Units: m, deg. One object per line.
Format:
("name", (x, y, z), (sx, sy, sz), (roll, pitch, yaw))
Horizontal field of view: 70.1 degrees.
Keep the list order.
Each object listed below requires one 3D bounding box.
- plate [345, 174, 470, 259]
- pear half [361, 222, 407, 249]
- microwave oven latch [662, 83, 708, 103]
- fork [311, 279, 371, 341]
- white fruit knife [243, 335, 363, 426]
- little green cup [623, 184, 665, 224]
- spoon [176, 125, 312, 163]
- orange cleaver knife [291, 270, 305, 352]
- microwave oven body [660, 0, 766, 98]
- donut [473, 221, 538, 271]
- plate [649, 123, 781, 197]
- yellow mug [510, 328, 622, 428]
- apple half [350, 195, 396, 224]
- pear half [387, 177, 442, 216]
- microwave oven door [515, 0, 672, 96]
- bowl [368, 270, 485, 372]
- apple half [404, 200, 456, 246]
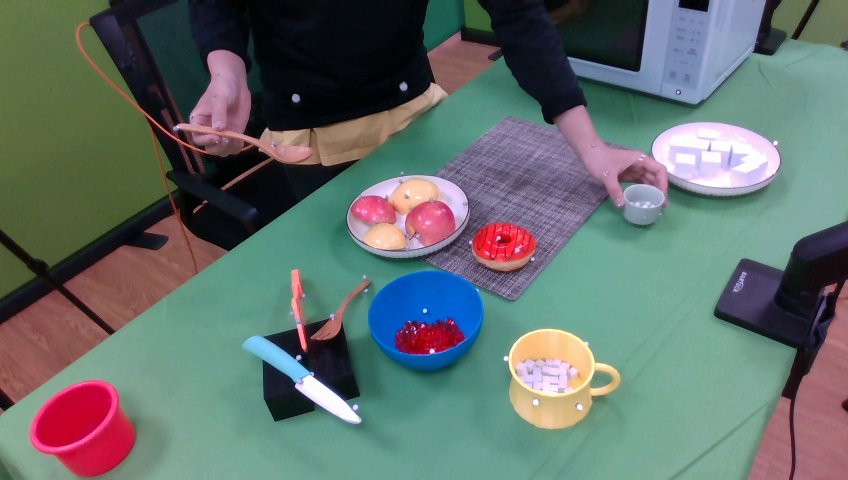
("plate", (-0.026, -0.036, 1.004), (0.209, 0.038, 0.208), (-4, 40, 4))
("pear half", (-0.063, -0.012, 0.958), (0.071, 0.031, 0.087), (3, 24, -25))
("microwave oven latch", (0.518, -0.296, 1.204), (0.078, 0.029, 0.030), (28, 52, 35))
("fork", (-0.108, 0.092, 0.832), (0.028, 0.019, 0.207), (-6, 19, 15))
("white fruit knife", (-0.148, 0.167, 0.730), (0.206, 0.016, 0.027), (26, 80, 31))
("little green cup", (0.344, -0.055, 0.952), (0.061, 0.039, 0.061), (0, 44, 1))
("spoon", (-0.253, -0.140, 0.850), (0.194, 0.021, 0.041), (16, 44, -1))
("orange cleaver knife", (-0.175, 0.094, 0.844), (0.012, 0.077, 0.210), (-11, 14, -10))
("microwave oven body", (0.472, -0.513, 1.317), (0.438, 0.261, 0.327), (26, 51, 34))
("donut", (0.124, 0.008, 0.923), (0.099, 0.048, 0.098), (-3, 38, 3))
("plate", (0.497, -0.135, 1.046), (0.207, 0.039, 0.206), (-4, 40, 4))
("yellow mug", (0.169, 0.164, 0.722), (0.130, 0.064, 0.099), (0, 40, 8))
("apple half", (-0.080, -0.056, 1.008), (0.081, 0.033, 0.081), (11, 24, -4))
("pear half", (-0.029, -0.079, 1.033), (0.109, 0.056, 0.076), (-4, 35, 17))
("microwave oven door", (0.344, -0.455, 1.259), (0.353, 0.245, 0.039), (26, 51, 33))
("bowl", (0.007, 0.118, 0.791), (0.151, 0.077, 0.150), (-5, 40, 4))
("apple half", (0.010, -0.035, 0.969), (0.075, 0.053, 0.080), (-27, 40, -22))
